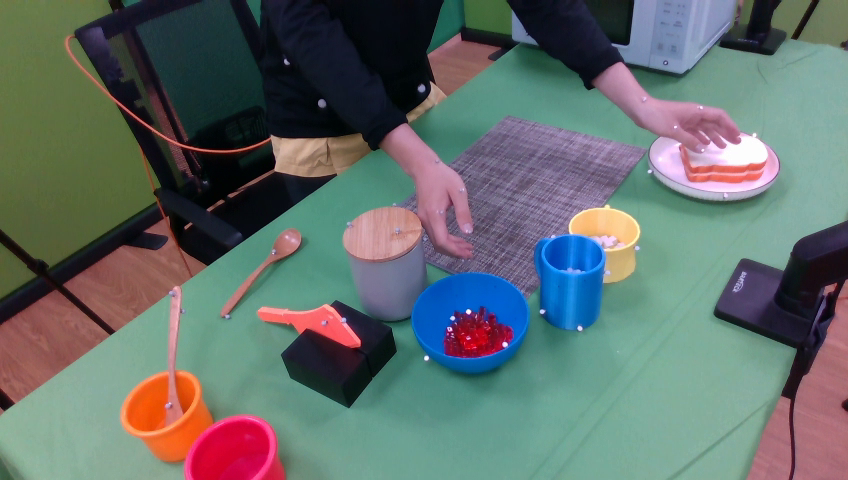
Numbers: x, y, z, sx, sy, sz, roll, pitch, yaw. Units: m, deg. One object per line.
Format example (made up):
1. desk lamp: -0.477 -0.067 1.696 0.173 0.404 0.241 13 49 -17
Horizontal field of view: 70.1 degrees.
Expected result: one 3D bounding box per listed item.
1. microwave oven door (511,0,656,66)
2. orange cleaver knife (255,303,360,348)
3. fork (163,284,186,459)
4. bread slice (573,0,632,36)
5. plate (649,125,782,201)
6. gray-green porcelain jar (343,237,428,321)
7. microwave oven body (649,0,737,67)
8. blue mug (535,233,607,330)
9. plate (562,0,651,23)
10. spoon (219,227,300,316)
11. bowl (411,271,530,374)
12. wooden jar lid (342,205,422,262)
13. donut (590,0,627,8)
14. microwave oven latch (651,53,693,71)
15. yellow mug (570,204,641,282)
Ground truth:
1. microwave oven door: 0.351 -0.539 1.349 0.353 0.245 0.039 24 50 31
2. orange cleaver knife: -0.161 0.115 0.813 0.210 0.077 0.012 -4 32 46
3. fork: -0.303 0.157 0.733 0.028 0.019 0.207 -3 84 12
4. bread slice: 0.430 -0.560 1.477 0.105 0.019 0.131 -28 69 -20
5. plate: 0.493 -0.128 1.036 0.207 0.039 0.206 -4 40 4
6. gray-green porcelain jar: -0.050 0.042 0.849 0.106 0.127 0.105 -5 41 4
7. microwave oven body: 0.475 -0.602 1.411 0.438 0.261 0.327 23 50 32
8. blue mug: 0.191 0.048 0.824 0.082 0.106 0.115 -26 44 -20
9. plate: 0.440 -0.573 1.455 0.209 0.038 0.208 -6 43 6
10. spoon: -0.261 0.046 0.954 0.041 0.021 0.194 27 48 10
11. bowl: 0.062 0.119 0.780 0.151 0.077 0.150 -4 40 4
12. wooden jar lid: -0.055 -0.006 0.808 0.108 0.021 0.108 -6 40 6
13. donut: 0.438 -0.587 1.433 0.099 0.048 0.098 -2 53 3
14. microwave oven latch: 0.532 -0.387 1.301 0.078 0.029 0.030 28 52 35
15. yellow mug: 0.268 -0.005 0.904 0.099 0.064 0.130 7 41 15
